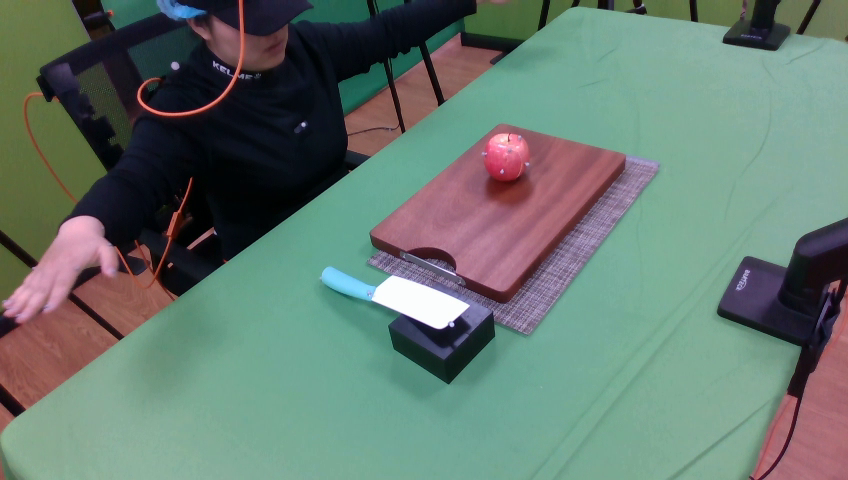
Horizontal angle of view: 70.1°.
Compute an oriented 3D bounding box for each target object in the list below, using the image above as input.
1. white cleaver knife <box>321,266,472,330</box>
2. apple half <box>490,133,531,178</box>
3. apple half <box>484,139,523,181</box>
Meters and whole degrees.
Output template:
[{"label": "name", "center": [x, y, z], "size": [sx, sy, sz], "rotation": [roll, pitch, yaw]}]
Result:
[{"label": "white cleaver knife", "center": [-0.049, 0.075, 0.867], "size": [0.284, 0.021, 0.066], "rotation": [16, 41, 43]}, {"label": "apple half", "center": [0.153, -0.150, 1.051], "size": [0.080, 0.075, 0.053], "rotation": [21, 44, 35]}, {"label": "apple half", "center": [0.128, -0.129, 1.029], "size": [0.080, 0.081, 0.033], "rotation": [22, 45, 32]}]
